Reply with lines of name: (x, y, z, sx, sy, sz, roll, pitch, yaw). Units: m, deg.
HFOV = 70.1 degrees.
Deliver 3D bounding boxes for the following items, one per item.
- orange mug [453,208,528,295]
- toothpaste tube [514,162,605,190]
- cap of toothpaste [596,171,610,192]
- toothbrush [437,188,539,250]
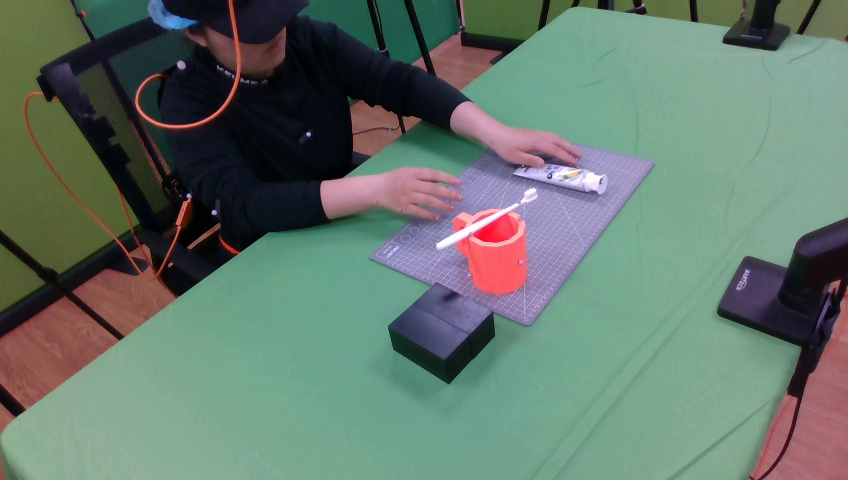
orange mug: (0.094, 0.009, 0.894, 0.125, 0.101, 0.084, 32, 55, 33)
toothpaste tube: (0.242, -0.116, 1.069, 0.164, 0.034, 0.055, 15, 39, 36)
cap of toothpaste: (0.301, -0.099, 1.021, 0.011, 0.037, 0.037, 17, 47, 40)
toothbrush: (0.093, -0.031, 0.859, 0.182, 0.017, 0.014, -28, 51, -21)
